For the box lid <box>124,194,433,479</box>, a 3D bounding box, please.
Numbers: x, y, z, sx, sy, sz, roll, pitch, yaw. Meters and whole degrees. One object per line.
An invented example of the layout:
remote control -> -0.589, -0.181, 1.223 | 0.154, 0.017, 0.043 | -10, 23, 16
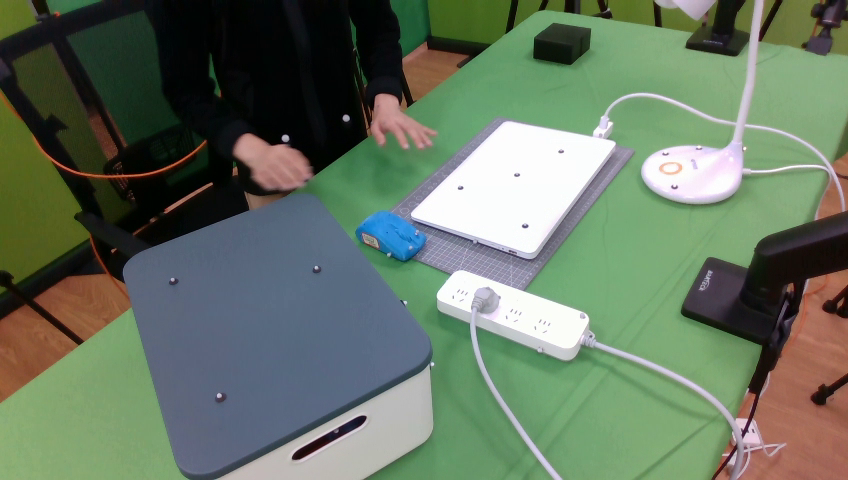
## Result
box lid -> -0.182, 0.076, 0.689 | 0.264, 0.015, 0.368 | -24, 42, -20

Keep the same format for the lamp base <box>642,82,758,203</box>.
lamp base -> 0.464, -0.174, 0.992 | 0.179, 0.181, 0.159 | -5, 41, -1

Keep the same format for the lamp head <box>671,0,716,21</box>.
lamp head -> 0.375, -0.373, 0.807 | 0.122, 0.113, 0.112 | -40, 27, 32

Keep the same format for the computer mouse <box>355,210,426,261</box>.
computer mouse -> -0.055, -0.010, 0.979 | 0.116, 0.041, 0.063 | 27, 49, 28

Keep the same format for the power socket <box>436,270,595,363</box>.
power socket -> 0.118, 0.101, 0.832 | 0.225, 0.033, 0.072 | 19, 48, 27

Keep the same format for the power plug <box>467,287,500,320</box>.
power plug -> 0.073, 0.092, 0.814 | 0.035, 0.053, 0.073 | 29, 54, 34

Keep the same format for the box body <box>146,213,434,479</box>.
box body -> -0.175, 0.131, 0.738 | 0.255, 0.161, 0.360 | -25, 43, -19

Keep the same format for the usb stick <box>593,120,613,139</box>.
usb stick -> 0.336, -0.201, 1.147 | 0.021, 0.027, 0.059 | 26, 54, 26

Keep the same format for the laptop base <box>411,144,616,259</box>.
laptop base -> 0.168, -0.101, 1.073 | 0.234, 0.023, 0.355 | 17, 46, 30

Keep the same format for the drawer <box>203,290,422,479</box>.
drawer -> -0.136, 0.188, 0.740 | 0.195, 0.073, 0.210 | -24, 52, -22

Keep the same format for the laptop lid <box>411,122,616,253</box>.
laptop lid -> 0.165, -0.111, 1.067 | 0.240, 0.013, 0.357 | 19, 46, 31
